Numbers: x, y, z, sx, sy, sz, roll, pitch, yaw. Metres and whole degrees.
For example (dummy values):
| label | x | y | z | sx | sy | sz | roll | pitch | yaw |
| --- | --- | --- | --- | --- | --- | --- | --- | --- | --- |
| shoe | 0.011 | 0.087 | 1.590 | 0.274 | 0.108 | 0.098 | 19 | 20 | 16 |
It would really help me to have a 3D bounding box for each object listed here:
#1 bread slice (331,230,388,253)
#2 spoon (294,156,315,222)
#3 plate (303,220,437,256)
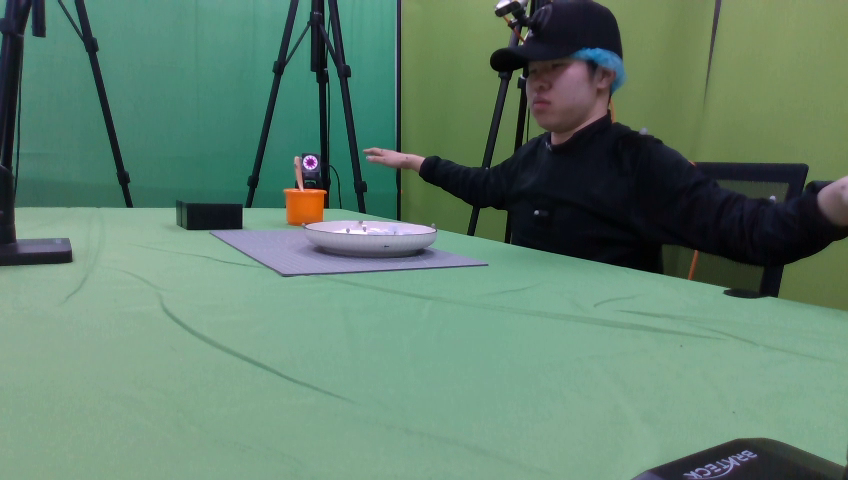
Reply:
| label | x | y | z | sx | sy | sz | roll | pitch | yaw |
| --- | --- | --- | --- | --- | --- | --- | --- | --- | --- |
| bread slice | -0.088 | 0.000 | 0.947 | 0.105 | 0.019 | 0.131 | -4 | 11 | -44 |
| spoon | -0.271 | -0.116 | 1.328 | 0.042 | 0.021 | 0.193 | -1 | 48 | -21 |
| plate | -0.084 | -0.003 | 0.951 | 0.209 | 0.038 | 0.209 | 3 | 7 | 0 |
